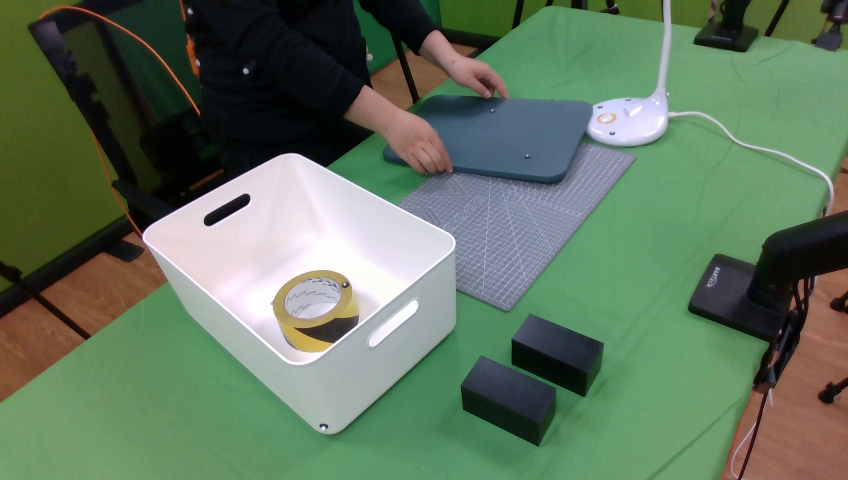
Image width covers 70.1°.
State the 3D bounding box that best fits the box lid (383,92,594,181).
[{"bbox_3d":[0.129,-0.214,1.193,0.369,0.015,0.263,10,45,23],"label":"box lid"}]

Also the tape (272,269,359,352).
[{"bbox_3d":[-0.149,0.097,0.843,0.117,0.053,0.116,-4,41,4],"label":"tape"}]

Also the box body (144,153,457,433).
[{"bbox_3d":[-0.158,0.054,0.819,0.361,0.161,0.255,29,52,34],"label":"box body"}]

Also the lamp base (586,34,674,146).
[{"bbox_3d":[0.392,-0.291,1.129,0.180,0.181,0.159,-11,41,-8],"label":"lamp base"}]
